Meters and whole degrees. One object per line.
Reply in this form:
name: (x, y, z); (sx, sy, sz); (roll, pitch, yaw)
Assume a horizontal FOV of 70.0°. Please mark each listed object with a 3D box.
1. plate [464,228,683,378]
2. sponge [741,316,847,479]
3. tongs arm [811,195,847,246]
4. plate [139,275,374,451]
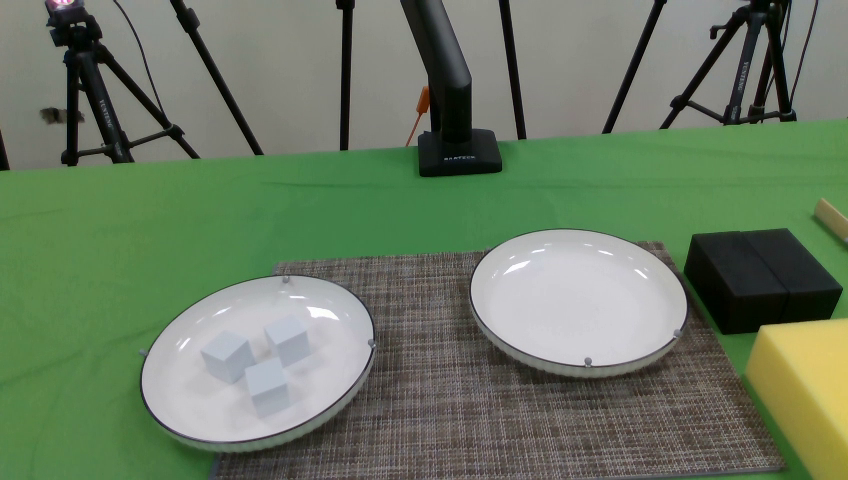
plate: (0.144, 0.062, 0.602); (0.207, 0.039, 0.205); (-2, 36, 2)
sponge: (0.350, 0.149, 0.451); (0.118, 0.061, 0.204); (-6, 36, -2)
tongs arm: (0.502, 0.066, 0.580); (0.028, 0.028, 0.383); (-5, 36, -6)
plate: (-0.148, 0.110, 0.560); (0.209, 0.038, 0.207); (-2, 35, 2)
